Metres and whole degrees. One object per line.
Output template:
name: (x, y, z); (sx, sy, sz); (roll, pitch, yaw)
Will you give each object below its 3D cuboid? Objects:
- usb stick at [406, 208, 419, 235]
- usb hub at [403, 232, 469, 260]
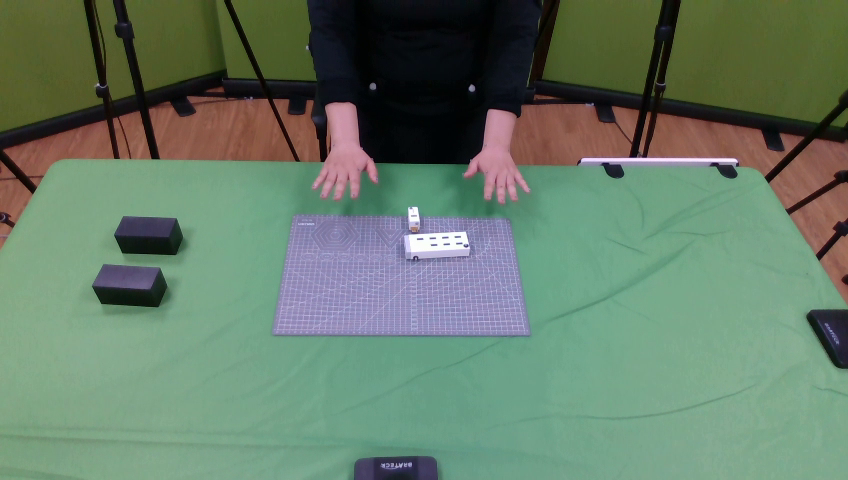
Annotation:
usb stick: (-0.023, -0.037, 1.226); (0.021, 0.027, 0.059); (1, 49, -10)
usb hub: (0.023, 0.012, 1.181); (0.125, 0.025, 0.049); (-3, 46, -7)
